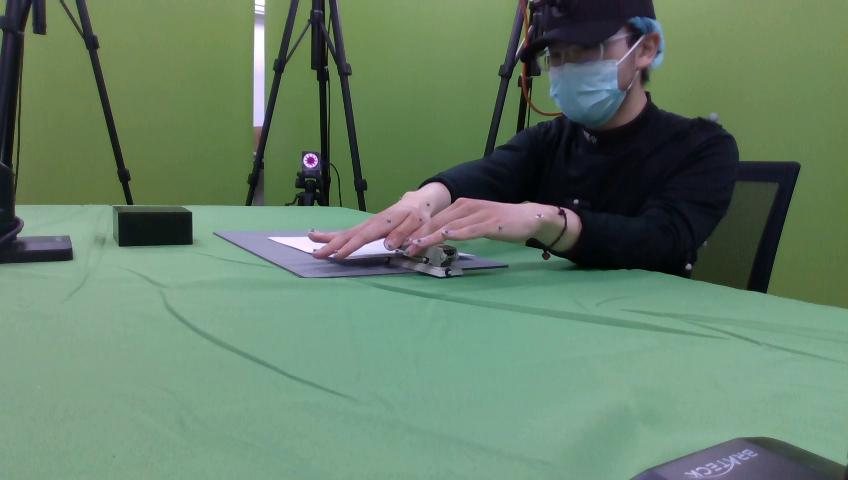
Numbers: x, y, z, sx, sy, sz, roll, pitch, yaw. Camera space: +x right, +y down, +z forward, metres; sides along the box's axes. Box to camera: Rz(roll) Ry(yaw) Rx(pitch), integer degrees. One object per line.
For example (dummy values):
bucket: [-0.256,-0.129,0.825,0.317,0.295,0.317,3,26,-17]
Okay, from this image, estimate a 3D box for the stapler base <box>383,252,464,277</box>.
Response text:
stapler base: [-0.004,0.025,0.790,0.041,0.024,0.130,-7,13,-38]

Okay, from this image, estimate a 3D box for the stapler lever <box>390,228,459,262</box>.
stapler lever: [-0.003,0.006,0.787,0.027,0.040,0.117,-7,7,-38]
